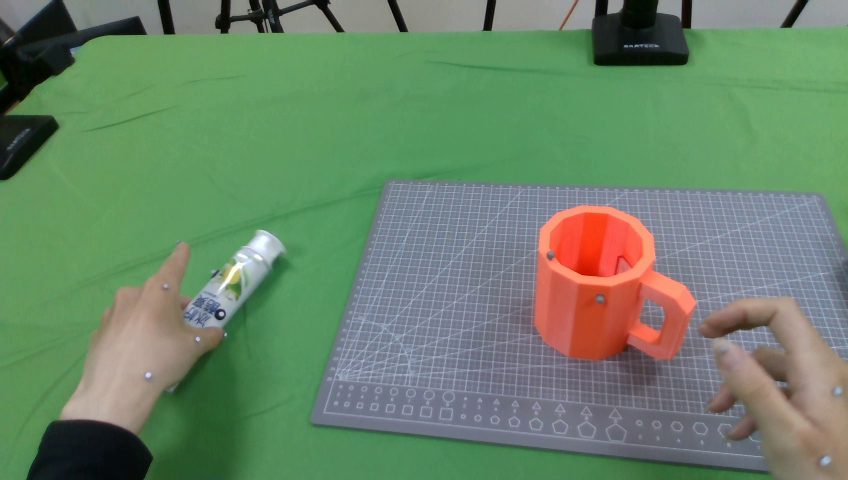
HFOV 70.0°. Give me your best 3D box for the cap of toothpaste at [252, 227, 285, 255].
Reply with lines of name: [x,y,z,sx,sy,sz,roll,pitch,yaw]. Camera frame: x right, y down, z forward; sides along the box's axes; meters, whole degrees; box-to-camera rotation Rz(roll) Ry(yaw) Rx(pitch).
cap of toothpaste: [-0.155,0.002,0.601,0.037,0.038,0.011,18,55,23]

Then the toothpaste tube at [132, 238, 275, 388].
toothpaste tube: [-0.195,0.058,0.562,0.054,0.035,0.164,16,55,27]

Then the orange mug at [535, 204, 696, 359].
orange mug: [0.148,0.041,0.482,0.125,0.102,0.083,27,54,34]
